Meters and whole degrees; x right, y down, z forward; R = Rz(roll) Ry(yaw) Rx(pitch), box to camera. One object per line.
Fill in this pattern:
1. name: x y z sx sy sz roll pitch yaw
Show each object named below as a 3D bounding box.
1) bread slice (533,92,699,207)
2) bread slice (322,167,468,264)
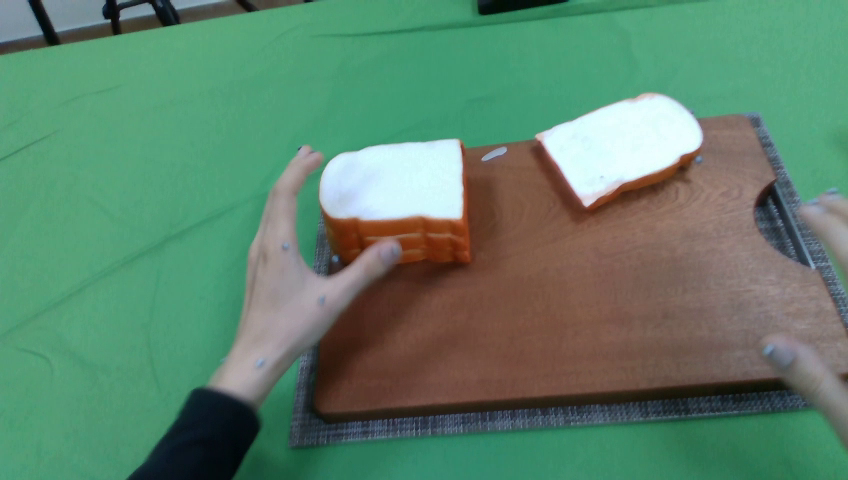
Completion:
1. bread slice: 0.182 -0.088 0.559 0.131 0.019 0.103 -22 49 0
2. bread slice: -0.026 -0.025 0.557 0.134 0.018 0.106 -1 50 5
